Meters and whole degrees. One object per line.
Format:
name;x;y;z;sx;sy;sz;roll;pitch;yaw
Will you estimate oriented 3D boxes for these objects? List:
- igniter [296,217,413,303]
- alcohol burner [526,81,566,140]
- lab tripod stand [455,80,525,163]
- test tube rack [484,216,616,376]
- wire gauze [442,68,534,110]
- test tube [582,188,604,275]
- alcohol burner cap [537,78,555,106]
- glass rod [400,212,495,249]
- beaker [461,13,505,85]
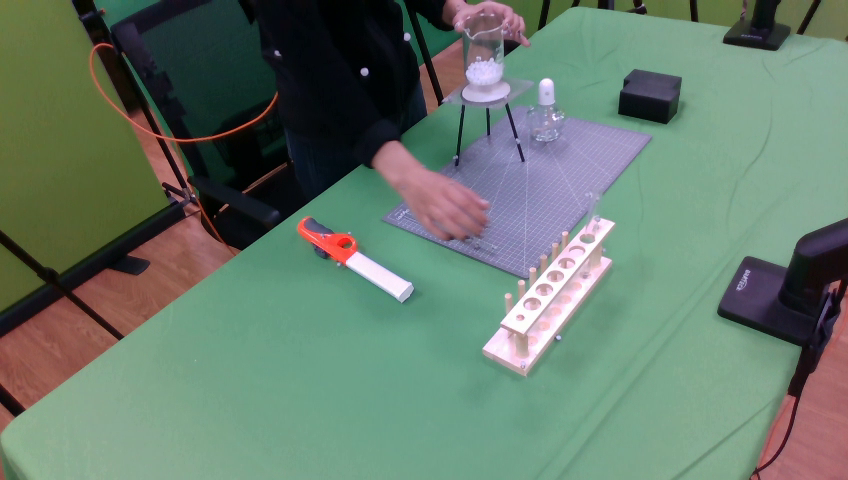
igniter;-0.121;0.025;0.970;0.274;0.025;0.057;29;63;37
alcohol burner;0.235;-0.252;1.159;0.078;0.119;0.077;-4;42;4
lab tripod stand;0.120;-0.219;1.126;0.148;0.132;0.147;-4;40;4
test tube rack;0.174;0.064;0.823;0.066;0.085;0.243;23;49;32
wire gauze;0.114;-0.269;1.081;0.120;0.011;0.125;21;48;29
test tube;0.228;-0.007;0.821;0.017;0.151;0.017;-3;42;3
alcohol burner cap;0.229;-0.280;1.136;0.034;0.048;0.033;-6;34;4
glass rod;0.034;-0.017;1.001;0.198;0.008;0.008;21;49;35
beaker;0.101;-0.324;1.037;0.073;0.101;0.084;16;47;24
